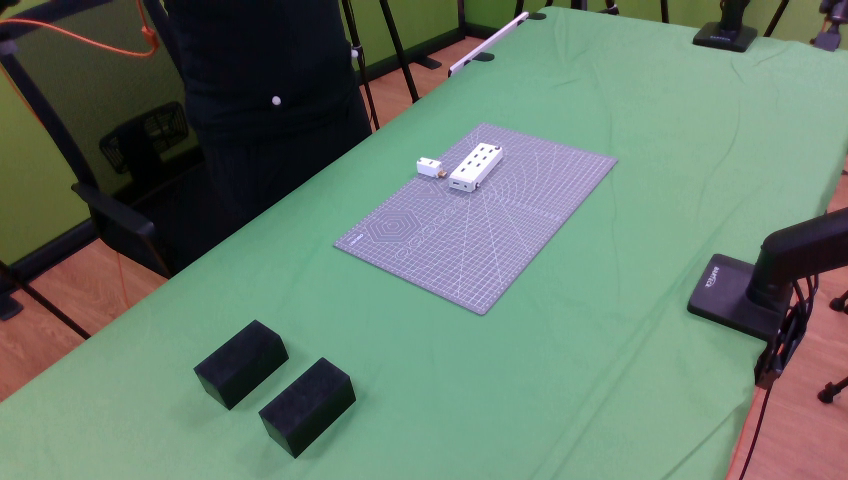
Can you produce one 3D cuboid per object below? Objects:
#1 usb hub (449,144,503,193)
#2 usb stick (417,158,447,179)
[{"bbox_3d":[0.096,-0.132,1.105,0.049,0.025,0.125,18,47,27],"label":"usb hub"},{"bbox_3d":[0.016,-0.130,1.114,0.059,0.027,0.021,21,44,25],"label":"usb stick"}]
